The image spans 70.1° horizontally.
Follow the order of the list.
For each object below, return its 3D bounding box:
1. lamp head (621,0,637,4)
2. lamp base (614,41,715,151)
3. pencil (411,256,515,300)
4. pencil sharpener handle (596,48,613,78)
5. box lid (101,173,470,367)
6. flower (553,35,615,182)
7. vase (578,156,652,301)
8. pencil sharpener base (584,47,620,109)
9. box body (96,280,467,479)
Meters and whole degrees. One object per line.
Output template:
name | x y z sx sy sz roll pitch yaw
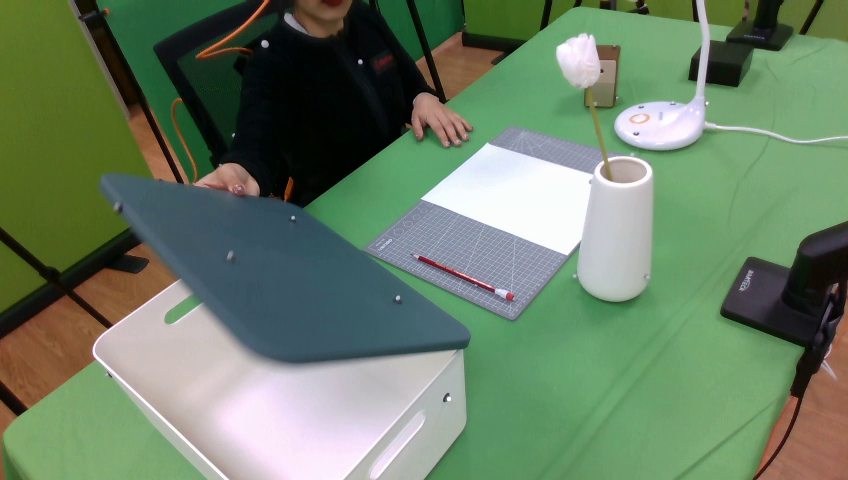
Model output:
lamp head | 0.319 -0.453 0.962 0.113 0.123 0.112 20 33 -13
lamp base | 0.449 -0.277 1.106 0.179 0.181 0.160 1 41 9
pencil | 0.054 0.054 0.918 0.192 0.012 0.012 21 48 33
pencil sharpener handle | 0.383 -0.378 1.276 0.036 0.068 0.030 2 41 22
box lid | -0.148 0.019 0.636 0.368 0.015 0.265 33 17 37
flower | 0.237 -0.083 0.774 0.044 0.363 0.038 -22 26 7
vase | 0.261 -0.011 0.812 0.098 0.201 0.097 -4 40 4
pencil sharpener base | 0.367 -0.336 1.248 0.061 0.107 0.076 6 42 19
box body | -0.155 0.169 0.707 0.361 0.161 0.255 23 49 33
